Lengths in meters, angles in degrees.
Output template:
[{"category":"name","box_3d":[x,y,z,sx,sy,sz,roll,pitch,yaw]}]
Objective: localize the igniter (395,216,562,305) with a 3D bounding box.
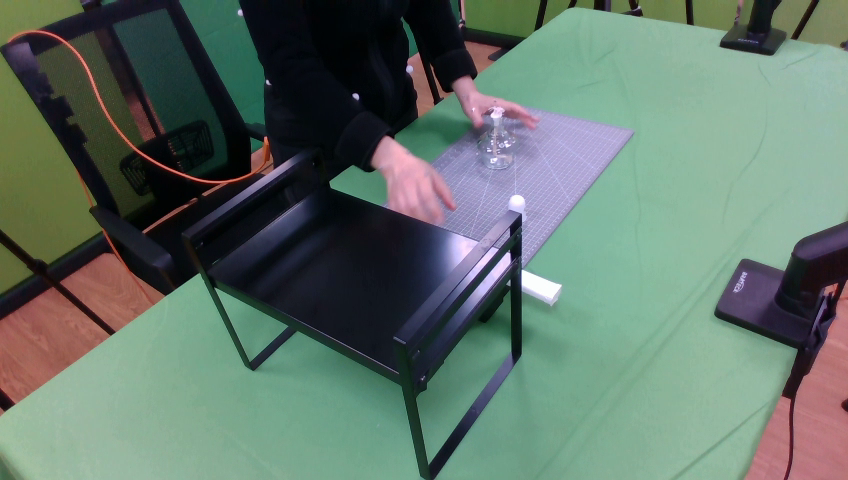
[{"category":"igniter","box_3d":[0.066,0.023,0.864,0.274,0.025,0.057,24,48,28]}]

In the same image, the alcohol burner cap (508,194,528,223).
[{"category":"alcohol burner cap","box_3d":[0.155,-0.053,0.996,0.034,0.048,0.033,-4,40,4]}]

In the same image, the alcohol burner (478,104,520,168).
[{"category":"alcohol burner","box_3d":[0.136,-0.193,1.106,0.078,0.119,0.077,-5,39,4]}]
